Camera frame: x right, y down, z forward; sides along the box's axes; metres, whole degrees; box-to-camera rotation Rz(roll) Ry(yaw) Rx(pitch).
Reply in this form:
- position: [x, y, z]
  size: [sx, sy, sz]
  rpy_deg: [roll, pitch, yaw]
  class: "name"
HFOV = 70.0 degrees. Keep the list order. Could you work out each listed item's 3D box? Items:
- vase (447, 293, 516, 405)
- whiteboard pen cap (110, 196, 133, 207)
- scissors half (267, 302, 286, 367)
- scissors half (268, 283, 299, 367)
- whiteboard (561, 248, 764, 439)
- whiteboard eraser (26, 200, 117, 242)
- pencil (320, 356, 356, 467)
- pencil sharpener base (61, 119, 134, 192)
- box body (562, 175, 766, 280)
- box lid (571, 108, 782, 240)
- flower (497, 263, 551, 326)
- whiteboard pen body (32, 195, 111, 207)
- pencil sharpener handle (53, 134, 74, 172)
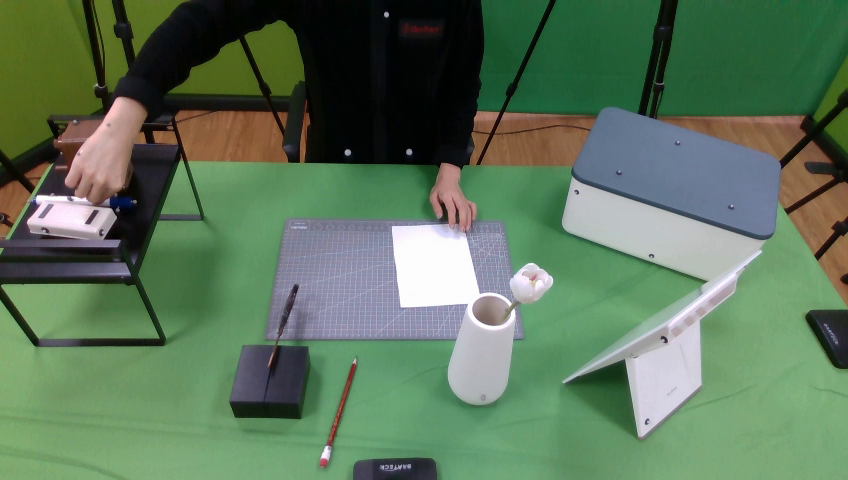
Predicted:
- position: [0.091, 0.169, 0.921]
  size: [0.098, 0.201, 0.097]
  rpy_deg: [3, 47, -3]
  class: "vase"
- position: [-0.485, -0.061, 0.972]
  size: [0.033, 0.018, 0.018]
  rpy_deg: [0, 46, -10]
  class: "whiteboard pen cap"
- position: [-0.238, 0.150, 0.997]
  size: [0.013, 0.040, 0.174]
  rpy_deg: [23, 24, -13]
  class: "scissors half"
- position: [-0.230, 0.135, 0.986]
  size: [0.013, 0.040, 0.174]
  rpy_deg: [19, 43, -10]
  class: "scissors half"
- position: [0.386, 0.176, 0.905]
  size: [0.217, 0.306, 0.143]
  rpy_deg: [-26, 72, -27]
  class: "whiteboard"
- position: [-0.532, -0.026, 0.919]
  size: [0.113, 0.042, 0.055]
  rpy_deg: [7, 45, 3]
  class: "whiteboard eraser"
- position: [-0.130, 0.261, 0.946]
  size: [0.012, 0.012, 0.193]
  rpy_deg: [9, 45, 5]
  class: "pencil"
- position: [-0.528, -0.135, 0.979]
  size: [0.077, 0.107, 0.061]
  rpy_deg: [-4, 47, -7]
  class: "pencil sharpener base"
- position: [0.486, -0.088, 1.222]
  size: [0.363, 0.161, 0.253]
  rpy_deg: [20, 48, 15]
  class: "box body"
- position: [0.491, -0.139, 1.168]
  size: [0.370, 0.015, 0.262]
  rpy_deg: [21, 49, 15]
  class: "box lid"
- position: [0.103, 0.121, 0.853]
  size: [0.044, 0.363, 0.038]
  rpy_deg: [-1, 64, -9]
  class: "flower"
- position: [-0.543, -0.061, 0.961]
  size: [0.141, 0.017, 0.017]
  rpy_deg: [1, 46, -9]
  class: "whiteboard pen body"
- position: [-0.578, -0.138, 0.961]
  size: [0.031, 0.068, 0.036]
  rpy_deg: [-4, 34, -7]
  class: "pencil sharpener handle"
